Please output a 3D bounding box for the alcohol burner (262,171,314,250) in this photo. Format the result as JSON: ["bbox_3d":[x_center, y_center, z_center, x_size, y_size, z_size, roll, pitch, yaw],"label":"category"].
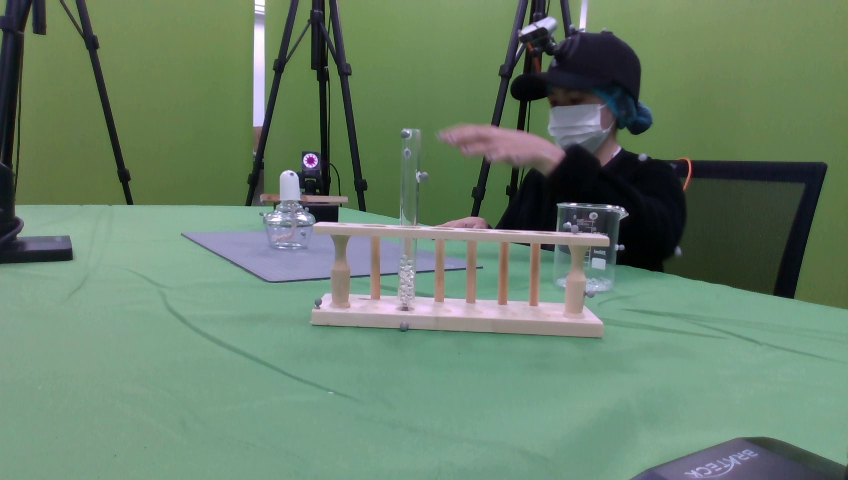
[{"bbox_3d":[-0.205,-0.045,0.913,0.078,0.119,0.078,1,9,0],"label":"alcohol burner"}]

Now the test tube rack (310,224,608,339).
[{"bbox_3d":[0.028,0.032,0.528,0.242,0.085,0.067,3,7,0],"label":"test tube rack"}]

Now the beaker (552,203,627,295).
[{"bbox_3d":[0.191,0.010,0.708,0.083,0.100,0.074,8,9,33],"label":"beaker"}]

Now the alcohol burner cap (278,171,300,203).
[{"bbox_3d":[-0.203,-0.080,0.909,0.034,0.048,0.034,-1,3,0],"label":"alcohol burner cap"}]

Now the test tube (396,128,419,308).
[{"bbox_3d":[-0.014,-0.016,0.501,0.017,0.150,0.017,2,11,0],"label":"test tube"}]

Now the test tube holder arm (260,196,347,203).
[{"bbox_3d":[-0.239,-0.082,1.213,0.179,0.015,0.013,-1,0,-32],"label":"test tube holder arm"}]

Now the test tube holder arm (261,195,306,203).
[{"bbox_3d":[-0.275,-0.081,1.185,0.088,0.015,0.010,-1,0,-32],"label":"test tube holder arm"}]
